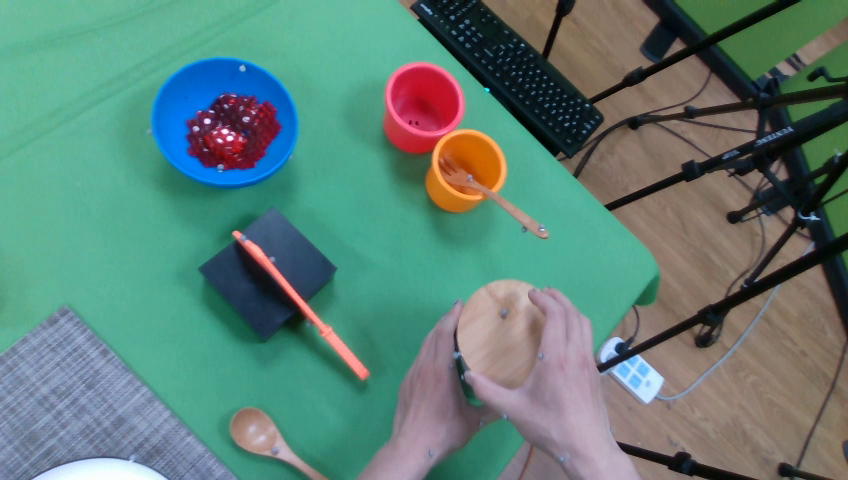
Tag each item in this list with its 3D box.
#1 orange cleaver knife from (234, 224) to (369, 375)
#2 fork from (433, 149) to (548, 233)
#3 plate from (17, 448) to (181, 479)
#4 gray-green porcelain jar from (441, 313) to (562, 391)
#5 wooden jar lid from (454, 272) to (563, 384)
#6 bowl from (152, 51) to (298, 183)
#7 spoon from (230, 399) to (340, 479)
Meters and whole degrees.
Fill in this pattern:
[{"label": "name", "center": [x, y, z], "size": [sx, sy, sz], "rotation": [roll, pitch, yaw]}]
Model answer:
[{"label": "orange cleaver knife", "center": [-0.132, 0.066, 0.658], "size": [0.012, 0.076, 0.213], "rotation": [-43, 112, -16]}, {"label": "fork", "center": [0.074, -0.060, 0.706], "size": [0.028, 0.019, 0.205], "rotation": [-28, 41, -19]}, {"label": "plate", "center": [-0.314, 0.305, 0.572], "size": [0.210, 0.038, 0.208], "rotation": [4, 76, -14]}, {"label": "gray-green porcelain jar", "center": [0.079, 0.115, 0.676], "size": [0.106, 0.126, 0.105], "rotation": [3, 75, -12]}, {"label": "wooden jar lid", "center": [0.081, 0.086, 0.591], "size": [0.108, 0.021, 0.108], "rotation": [2, 78, -9]}, {"label": "bowl", "center": [-0.221, -0.127, 0.688], "size": [0.152, 0.077, 0.150], "rotation": [3, 76, -13]}, {"label": "spoon", "center": [-0.126, 0.238, 0.648], "size": [0.194, 0.022, 0.041], "rotation": [38, 52, -2]}]
